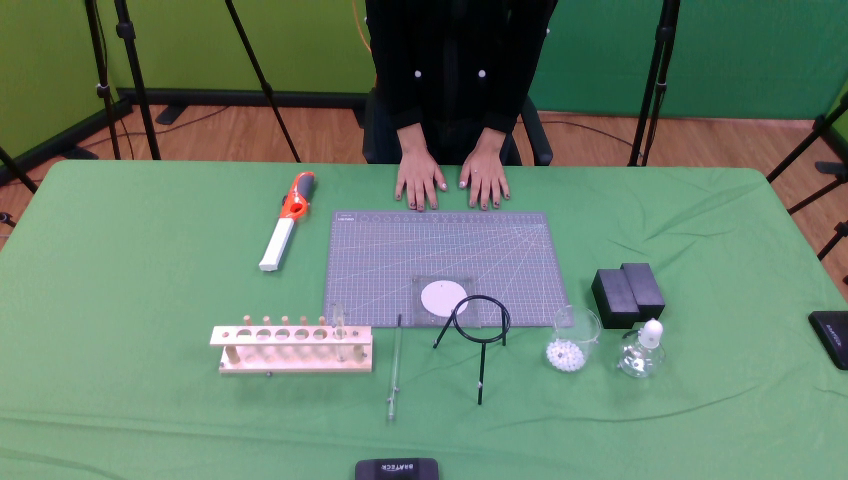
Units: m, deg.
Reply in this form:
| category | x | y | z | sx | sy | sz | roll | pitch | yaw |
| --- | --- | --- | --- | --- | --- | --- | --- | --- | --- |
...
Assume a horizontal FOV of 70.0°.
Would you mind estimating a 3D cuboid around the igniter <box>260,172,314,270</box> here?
| category | x | y | z | sx | sy | sz | roll | pitch | yaw |
| --- | --- | --- | --- | --- | --- | --- | --- | --- | --- |
| igniter | -0.272 | -0.046 | 1.220 | 0.057 | 0.025 | 0.275 | 0 | 45 | 10 |

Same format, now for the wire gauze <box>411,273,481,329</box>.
| category | x | y | z | sx | sy | sz | roll | pitch | yaw |
| --- | --- | --- | --- | --- | --- | --- | --- | --- | --- |
| wire gauze | 0.038 | 0.108 | 1.103 | 0.125 | 0.011 | 0.120 | 2 | 47 | -3 |

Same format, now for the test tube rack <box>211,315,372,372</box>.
| category | x | y | z | sx | sy | sz | roll | pitch | yaw |
| --- | --- | --- | --- | --- | --- | --- | --- | --- | --- |
| test tube rack | -0.208 | 0.163 | 0.982 | 0.242 | 0.085 | 0.066 | 1 | 46 | -4 |

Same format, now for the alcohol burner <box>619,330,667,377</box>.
| category | x | y | z | sx | sy | sz | roll | pitch | yaw |
| --- | --- | --- | --- | --- | --- | --- | --- | --- | --- |
| alcohol burner | 0.363 | 0.172 | 0.995 | 0.078 | 0.120 | 0.077 | 1 | 48 | -1 |

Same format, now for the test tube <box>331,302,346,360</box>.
| category | x | y | z | sx | sy | sz | roll | pitch | yaw |
| --- | --- | --- | --- | --- | --- | --- | --- | --- | --- |
| test tube | -0.132 | 0.144 | 0.938 | 0.017 | 0.151 | 0.017 | 2 | 49 | -3 |

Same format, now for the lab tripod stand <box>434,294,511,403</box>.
| category | x | y | z | sx | sy | sz | roll | pitch | yaw |
| --- | --- | --- | --- | --- | --- | --- | --- | --- | --- |
| lab tripod stand | 0.087 | 0.164 | 0.969 | 0.148 | 0.132 | 0.147 | 3 | 47 | -3 |

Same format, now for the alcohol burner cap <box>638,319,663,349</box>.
| category | x | y | z | sx | sy | sz | roll | pitch | yaw |
| --- | --- | --- | --- | --- | --- | --- | --- | --- | --- |
| alcohol burner cap | 0.364 | 0.147 | 0.968 | 0.034 | 0.048 | 0.033 | -1 | 44 | 1 |

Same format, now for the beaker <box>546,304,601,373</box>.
| category | x | y | z | sx | sy | sz | roll | pitch | yaw |
| --- | --- | --- | --- | --- | --- | --- | --- | --- | --- |
| beaker | 0.242 | 0.167 | 1.001 | 0.084 | 0.101 | 0.073 | -32 | 55 | -28 |

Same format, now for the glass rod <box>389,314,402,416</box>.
| category | x | y | z | sx | sy | sz | roll | pitch | yaw |
| --- | --- | --- | --- | --- | --- | --- | --- | --- | --- |
| glass rod | -0.048 | 0.203 | 1.007 | 0.008 | 0.008 | 0.198 | 4 | 45 | 0 |
